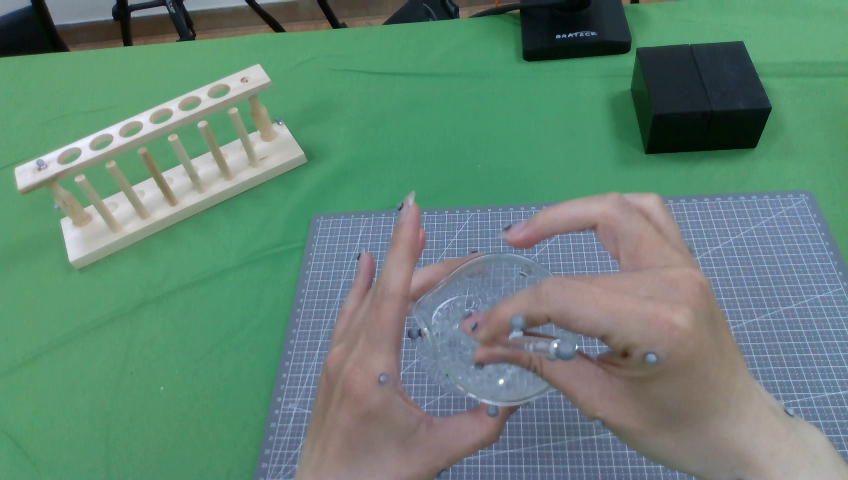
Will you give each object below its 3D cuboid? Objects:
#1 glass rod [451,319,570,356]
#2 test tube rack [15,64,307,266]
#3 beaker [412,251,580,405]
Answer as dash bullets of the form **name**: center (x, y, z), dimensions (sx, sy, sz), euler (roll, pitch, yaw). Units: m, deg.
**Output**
- **glass rod**: center (0.032, 0.043, 0.286), dimensions (0.008, 0.199, 0.008), euler (1, 84, -7)
- **test tube rack**: center (-0.248, -0.076, 0.592), dimensions (0.242, 0.086, 0.066), euler (-28, 53, -13)
- **beaker**: center (0.031, 0.051, 0.339), dimensions (0.084, 0.100, 0.073), euler (13, 77, -3)
